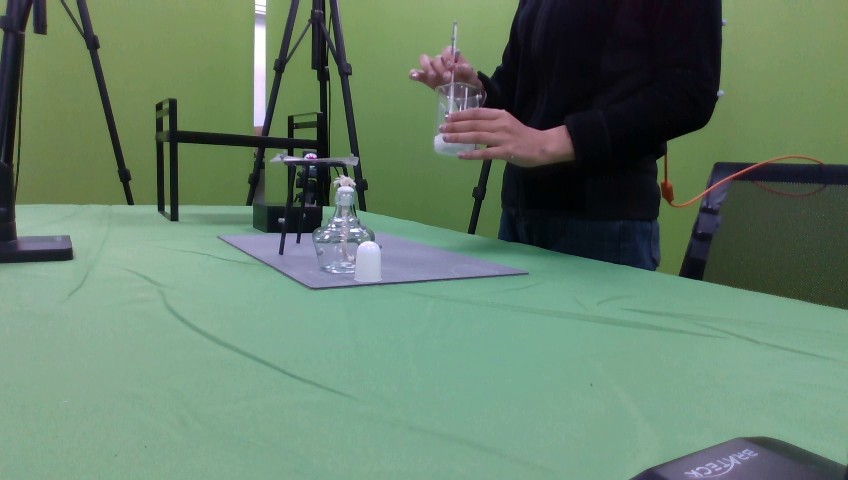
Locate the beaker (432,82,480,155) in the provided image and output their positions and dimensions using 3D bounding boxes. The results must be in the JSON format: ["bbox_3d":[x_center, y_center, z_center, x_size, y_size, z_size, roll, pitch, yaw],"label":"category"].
[{"bbox_3d":[0.048,-0.190,0.951,0.073,0.100,0.084,0,-4,35],"label":"beaker"}]

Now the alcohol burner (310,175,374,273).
[{"bbox_3d":[-0.100,-0.020,0.741,0.078,0.119,0.078,1,6,0],"label":"alcohol burner"}]

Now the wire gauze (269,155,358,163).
[{"bbox_3d":[-0.159,-0.118,0.886,0.122,0.011,0.125,1,7,-9],"label":"wire gauze"}]

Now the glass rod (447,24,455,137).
[{"bbox_3d":[0.042,-0.255,0.953,0.008,0.199,0.008,2,-16,1],"label":"glass rod"}]

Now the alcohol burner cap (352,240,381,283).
[{"bbox_3d":[-0.065,0.023,0.690,0.034,0.048,0.034,2,8,0],"label":"alcohol burner cap"}]

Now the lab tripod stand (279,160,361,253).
[{"bbox_3d":[-0.166,-0.052,0.897,0.148,0.131,0.148,0,7,0],"label":"lab tripod stand"}]
